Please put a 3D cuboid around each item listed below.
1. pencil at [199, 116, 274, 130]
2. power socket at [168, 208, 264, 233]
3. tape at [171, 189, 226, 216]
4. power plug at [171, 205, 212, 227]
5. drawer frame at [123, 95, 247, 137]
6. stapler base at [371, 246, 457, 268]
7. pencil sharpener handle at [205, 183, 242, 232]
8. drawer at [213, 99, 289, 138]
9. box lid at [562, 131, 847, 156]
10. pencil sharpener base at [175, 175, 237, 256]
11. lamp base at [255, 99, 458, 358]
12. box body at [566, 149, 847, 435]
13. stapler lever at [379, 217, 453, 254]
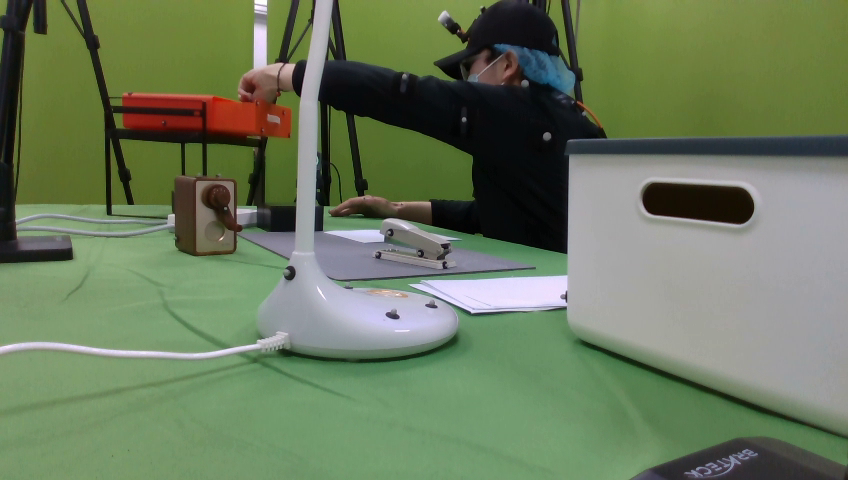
[{"bbox_3d":[-0.411,-0.263,1.345,0.012,0.012,0.195,8,21,39],"label":"pencil"},{"bbox_3d":[-0.381,-0.038,1.129,0.072,0.032,0.227,4,8,17],"label":"power socket"},{"bbox_3d":[-0.516,-0.087,1.388,0.117,0.052,0.117,3,8,0],"label":"tape"},{"bbox_3d":[-0.455,-0.040,1.196,0.052,0.035,0.072,2,44,24],"label":"power plug"},{"bbox_3d":[-0.525,-0.280,1.376,0.213,0.082,0.202,3,8,8],"label":"drawer frame"},{"bbox_3d":[-0.016,0.017,0.831,0.130,0.024,0.041,10,12,39],"label":"stapler base"},{"bbox_3d":[-0.265,-0.043,0.813,0.036,0.068,0.030,-31,27,-35],"label":"pencil sharpener handle"},{"bbox_3d":[-0.432,-0.273,1.364,0.211,0.073,0.195,3,8,9],"label":"drawer"},{"bbox_3d":[0.322,-0.064,0.463,0.373,0.015,0.262,-2,9,-31],"label":"box lid"},{"bbox_3d":[-0.305,-0.035,0.847,0.062,0.107,0.076,-4,10,-42],"label":"pencil sharpener base"},{"bbox_3d":[-0.056,-0.013,0.462,0.160,0.180,0.180,6,11,27],"label":"lamp base"},{"bbox_3d":[0.318,0.009,0.471,0.366,0.160,0.253,-2,8,-31],"label":"box body"},{"bbox_3d":[-0.014,-0.007,0.828,0.117,0.040,0.027,9,11,39],"label":"stapler lever"}]
